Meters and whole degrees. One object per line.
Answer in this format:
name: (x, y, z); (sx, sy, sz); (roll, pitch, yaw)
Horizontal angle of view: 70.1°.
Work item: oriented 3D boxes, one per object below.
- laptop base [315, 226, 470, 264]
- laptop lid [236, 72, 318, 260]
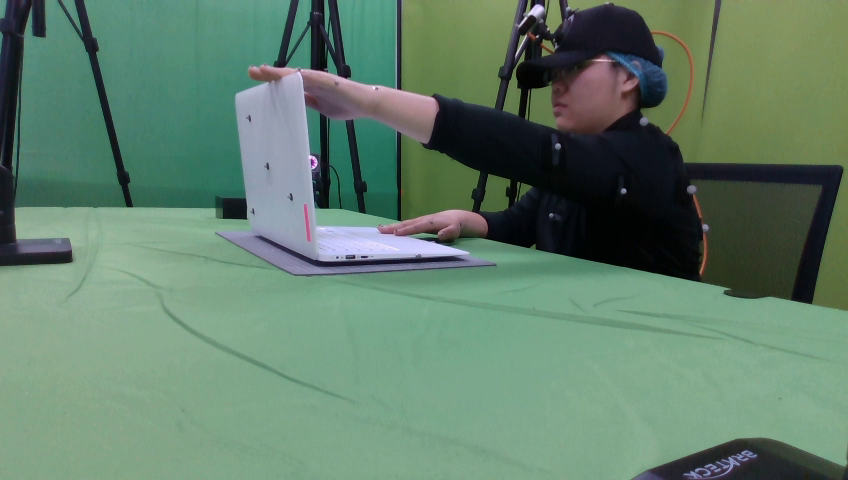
laptop base: (-0.117, 0.005, 0.970); (0.237, 0.023, 0.352); (2, 6, -30)
laptop lid: (-0.227, -0.109, 0.889); (0.013, 0.241, 0.355); (-8, 13, -28)
